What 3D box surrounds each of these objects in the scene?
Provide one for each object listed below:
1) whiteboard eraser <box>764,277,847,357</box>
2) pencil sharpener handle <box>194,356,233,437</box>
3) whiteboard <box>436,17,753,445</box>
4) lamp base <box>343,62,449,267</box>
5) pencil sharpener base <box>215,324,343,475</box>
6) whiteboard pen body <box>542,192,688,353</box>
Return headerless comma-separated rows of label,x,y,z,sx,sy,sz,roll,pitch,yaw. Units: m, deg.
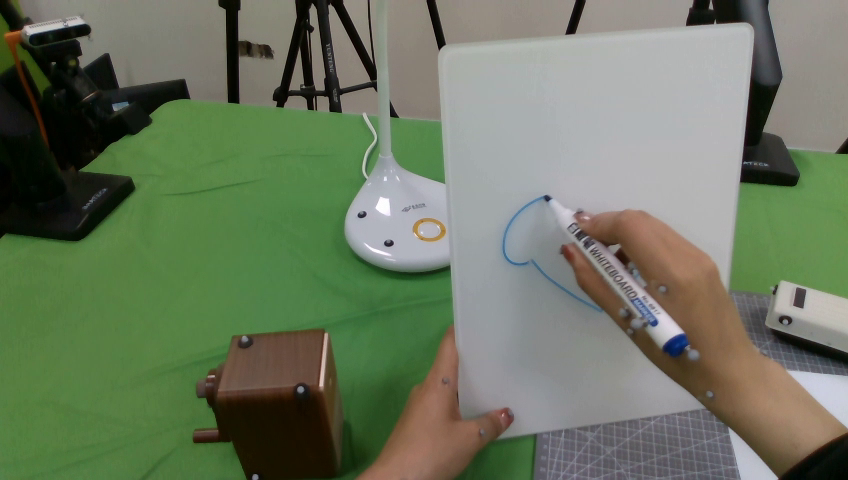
whiteboard eraser,0.372,0.075,0.547,0.112,0.042,0.055,20,44,24
pencil sharpener handle,-0.156,0.116,0.438,0.031,0.068,0.035,-3,26,-2
whiteboard,0.118,-0.014,0.505,0.217,0.307,0.143,-6,20,-5
lamp base,-0.022,-0.089,0.654,0.161,0.182,0.177,-25,42,-27
pencil sharpener base,-0.105,0.121,0.451,0.077,0.108,0.060,-3,39,-2
whiteboard pen body,0.112,0.014,0.379,0.017,0.017,0.139,-17,50,-19
